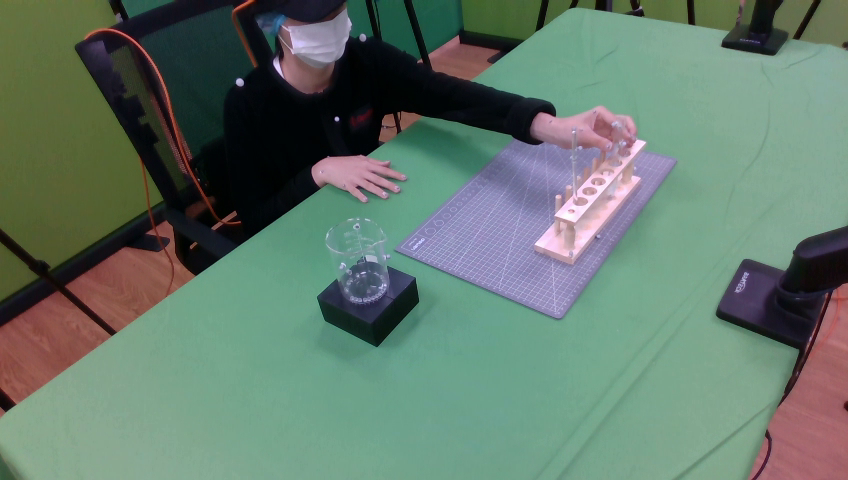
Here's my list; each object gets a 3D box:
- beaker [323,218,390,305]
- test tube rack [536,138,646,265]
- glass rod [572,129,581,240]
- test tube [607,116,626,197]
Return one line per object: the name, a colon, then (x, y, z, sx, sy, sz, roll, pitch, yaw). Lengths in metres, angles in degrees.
beaker: (-0.084, 0.032, 0.813, 0.084, 0.101, 0.073, 0, 41, 8)
test tube rack: (0.268, -0.071, 0.963, 0.066, 0.085, 0.243, 23, 49, 31)
glass rod: (0.220, -0.074, 0.871, 0.008, 0.201, 0.008, -8, 42, 8)
test tube: (0.299, -0.126, 0.943, 0.017, 0.151, 0.017, -5, 44, 5)
